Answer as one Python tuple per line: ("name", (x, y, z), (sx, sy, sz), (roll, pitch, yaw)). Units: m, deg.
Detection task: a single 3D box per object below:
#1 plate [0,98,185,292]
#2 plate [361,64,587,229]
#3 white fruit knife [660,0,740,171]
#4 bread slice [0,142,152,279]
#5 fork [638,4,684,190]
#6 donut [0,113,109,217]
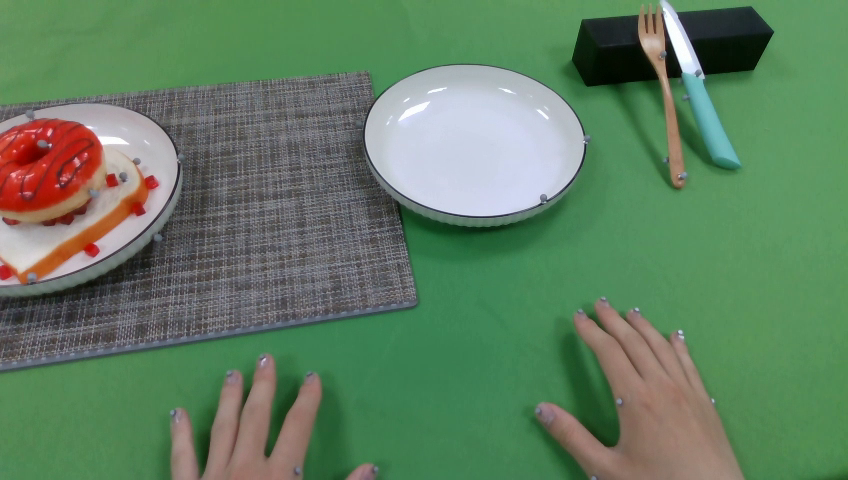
("plate", (-0.309, -0.040, 0.515), (0.209, 0.038, 0.207), (1, 53, -1))
("plate", (0.046, -0.088, 0.574), (0.208, 0.039, 0.205), (2, 53, -2))
("white fruit knife", (0.275, -0.163, 0.619), (0.027, 0.016, 0.206), (-7, 70, -10))
("bread slice", (-0.305, -0.035, 0.515), (0.104, 0.019, 0.131), (33, 59, 20))
("fork", (0.238, -0.146, 0.602), (0.028, 0.019, 0.206), (2, 70, -8))
("donut", (-0.307, -0.061, 0.486), (0.099, 0.048, 0.098), (1, 53, -2))
